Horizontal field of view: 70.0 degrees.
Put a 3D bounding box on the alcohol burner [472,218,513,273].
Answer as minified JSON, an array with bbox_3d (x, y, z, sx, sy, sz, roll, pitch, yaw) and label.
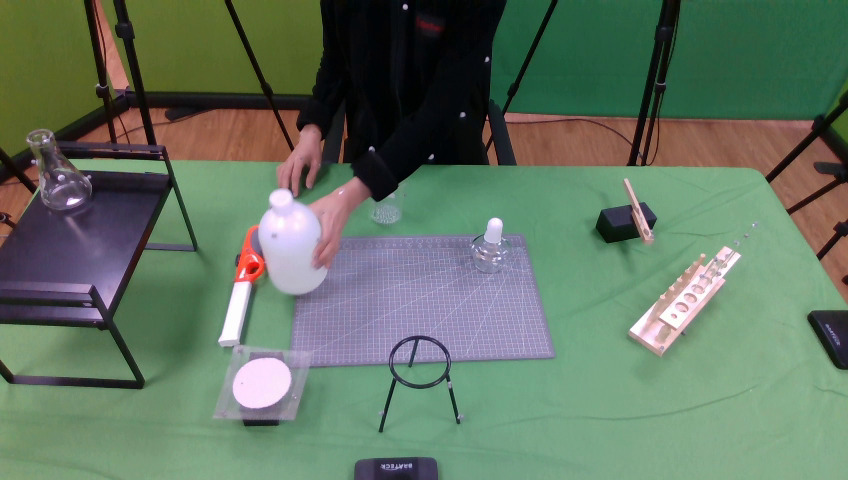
[{"bbox_3d":[0.128,0.005,1.132,0.078,0.120,0.077,0,47,0],"label":"alcohol burner"}]

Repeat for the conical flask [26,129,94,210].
[{"bbox_3d":[-0.575,-0.113,0.946,0.075,0.122,0.075,2,46,-1],"label":"conical flask"}]

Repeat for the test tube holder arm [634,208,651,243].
[{"bbox_3d":[0.428,-0.030,1.189,0.010,0.015,0.087,1,47,-2],"label":"test tube holder arm"}]

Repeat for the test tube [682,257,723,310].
[{"bbox_3d":[0.475,0.080,1.038,0.017,0.151,0.017,1,50,-1],"label":"test tube"}]

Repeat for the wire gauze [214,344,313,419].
[{"bbox_3d":[-0.241,0.213,0.915,0.121,0.011,0.124,5,46,1],"label":"wire gauze"}]

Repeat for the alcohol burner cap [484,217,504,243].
[{"bbox_3d":[0.129,-0.022,1.107,0.034,0.048,0.033,4,41,-3],"label":"alcohol burner cap"}]

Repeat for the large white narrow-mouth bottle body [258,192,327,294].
[{"bbox_3d":[-0.222,-0.002,1.014,0.102,0.195,0.101,0,48,0],"label":"large white narrow-mouth bottle body"}]

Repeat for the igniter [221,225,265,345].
[{"bbox_3d":[-0.323,0.071,1.100,0.057,0.025,0.274,-6,45,4],"label":"igniter"}]

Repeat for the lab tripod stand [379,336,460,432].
[{"bbox_3d":[-0.011,0.214,0.911,0.148,0.132,0.147,1,45,0],"label":"lab tripod stand"}]

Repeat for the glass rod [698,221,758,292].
[{"bbox_3d":[0.527,0.035,1.059,0.008,0.200,0.008,5,49,-6],"label":"glass rod"}]

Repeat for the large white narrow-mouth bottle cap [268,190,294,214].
[{"bbox_3d":[-0.224,-0.059,0.948,0.038,0.024,0.037,0,48,0],"label":"large white narrow-mouth bottle cap"}]

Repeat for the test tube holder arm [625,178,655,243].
[{"bbox_3d":[0.433,-0.062,1.220,0.013,0.015,0.177,0,47,-3],"label":"test tube holder arm"}]

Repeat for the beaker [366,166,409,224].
[{"bbox_3d":[-0.074,-0.087,1.222,0.084,0.101,0.073,4,46,0],"label":"beaker"}]

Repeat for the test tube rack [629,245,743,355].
[{"bbox_3d":[0.474,0.095,1.091,0.242,0.085,0.066,-34,56,-31],"label":"test tube rack"}]
